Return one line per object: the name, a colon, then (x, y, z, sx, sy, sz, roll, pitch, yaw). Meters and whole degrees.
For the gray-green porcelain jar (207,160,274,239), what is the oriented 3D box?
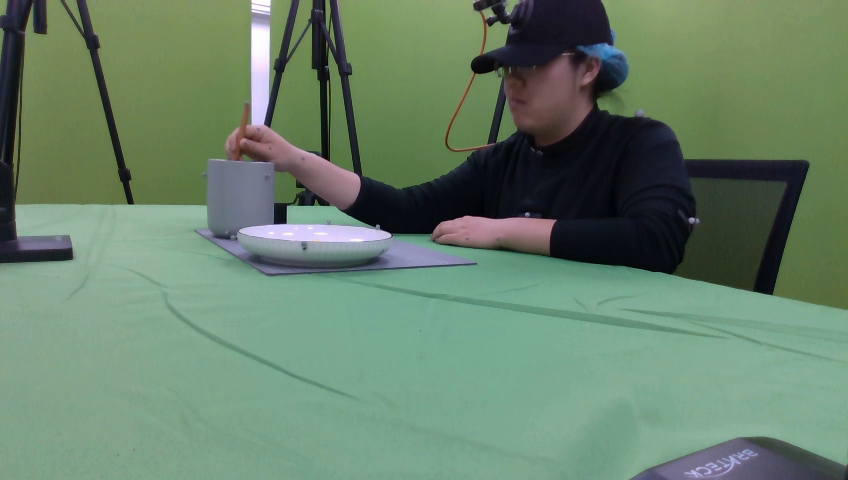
gray-green porcelain jar: (-0.304, -0.068, 1.004, 0.106, 0.126, 0.106, 3, 7, 0)

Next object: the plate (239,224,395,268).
plate: (-0.144, 0.007, 0.823, 0.208, 0.039, 0.207, 3, 7, 0)

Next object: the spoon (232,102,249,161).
spoon: (-0.316, -0.134, 1.002, 0.021, 0.193, 0.041, 22, 8, 6)
